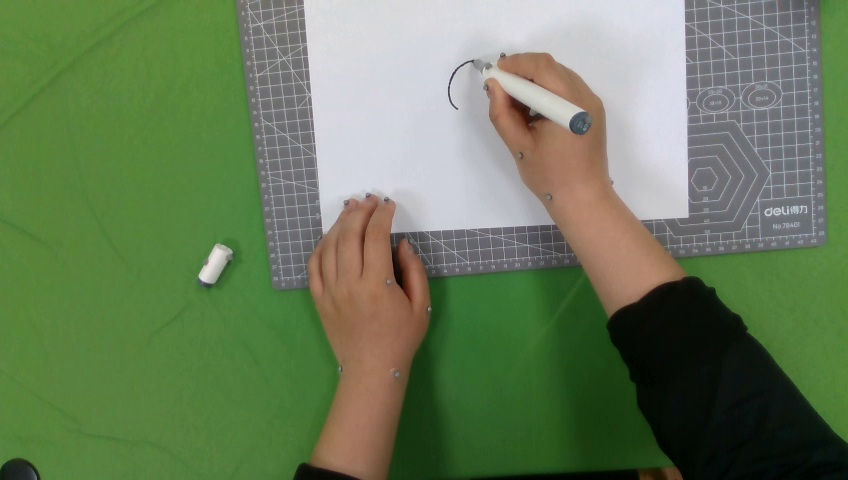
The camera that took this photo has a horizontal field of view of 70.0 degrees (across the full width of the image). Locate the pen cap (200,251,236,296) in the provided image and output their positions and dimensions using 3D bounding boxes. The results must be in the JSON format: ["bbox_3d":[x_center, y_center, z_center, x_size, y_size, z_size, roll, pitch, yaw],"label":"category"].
[{"bbox_3d":[-0.177,0.030,0.518,0.017,0.017,0.038,33,97,2],"label":"pen cap"}]

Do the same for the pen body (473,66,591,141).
[{"bbox_3d":[0.070,-0.103,0.433,0.017,0.142,0.017,-15,126,-21],"label":"pen body"}]
